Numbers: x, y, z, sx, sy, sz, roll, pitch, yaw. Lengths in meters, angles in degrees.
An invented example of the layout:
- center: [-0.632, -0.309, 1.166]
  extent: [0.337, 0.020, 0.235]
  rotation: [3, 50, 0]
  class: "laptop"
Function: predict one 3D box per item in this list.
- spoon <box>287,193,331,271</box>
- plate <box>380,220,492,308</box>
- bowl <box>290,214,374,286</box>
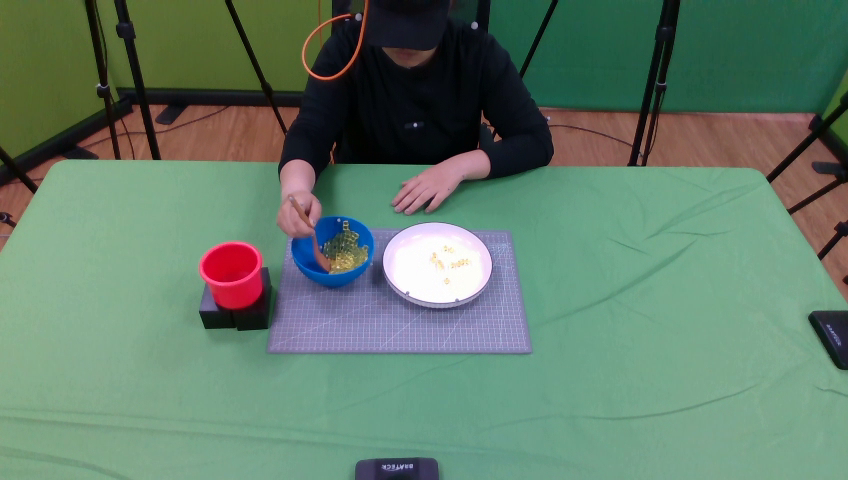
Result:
- center: [-0.198, -0.013, 1.053]
  extent: [0.021, 0.195, 0.041]
  rotation: [-14, 45, -1]
  class: "spoon"
- center: [0.022, 0.048, 1.138]
  extent: [0.208, 0.039, 0.206]
  rotation: [2, 46, -2]
  class: "plate"
- center: [-0.166, 0.032, 1.111]
  extent: [0.151, 0.077, 0.150]
  rotation: [2, 46, -2]
  class: "bowl"
